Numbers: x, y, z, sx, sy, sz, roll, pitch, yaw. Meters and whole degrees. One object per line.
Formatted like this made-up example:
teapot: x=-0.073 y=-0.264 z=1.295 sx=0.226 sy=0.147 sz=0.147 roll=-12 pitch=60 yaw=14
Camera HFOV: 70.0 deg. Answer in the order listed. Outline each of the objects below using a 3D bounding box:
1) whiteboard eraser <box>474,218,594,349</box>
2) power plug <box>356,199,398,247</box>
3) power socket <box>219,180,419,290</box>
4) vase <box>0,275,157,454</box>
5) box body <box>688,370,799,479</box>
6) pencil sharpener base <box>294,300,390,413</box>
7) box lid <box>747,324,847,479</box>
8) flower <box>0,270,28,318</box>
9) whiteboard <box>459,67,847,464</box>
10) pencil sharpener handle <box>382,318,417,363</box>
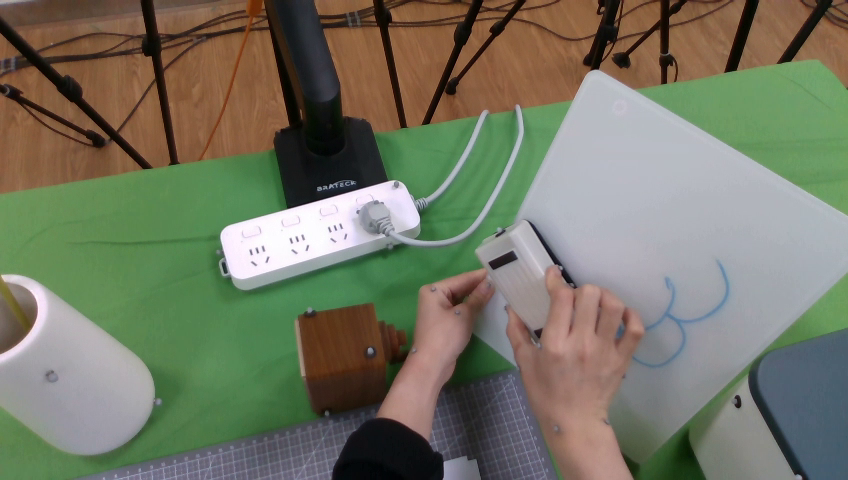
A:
whiteboard eraser: x=0.096 y=0.038 z=0.526 sx=0.113 sy=0.055 sz=0.042 roll=57 pitch=41 yaw=-5
power plug: x=-0.051 y=-0.011 z=0.642 sx=0.035 sy=0.053 sz=0.072 roll=-8 pitch=61 yaw=-9
power socket: x=-0.111 y=-0.008 z=0.662 sx=0.227 sy=0.033 sz=0.071 roll=-17 pitch=62 yaw=-14
vase: x=-0.291 y=0.104 z=0.483 sx=0.098 sy=0.201 sz=0.097 roll=1 pitch=58 yaw=-2
box body: x=0.409 y=0.253 z=0.467 sx=0.255 sy=0.161 sz=0.360 roll=-12 pitch=60 yaw=-11
pencil sharpener base: x=-0.071 y=0.108 z=0.551 sx=0.077 sy=0.108 sz=0.061 roll=-9 pitch=59 yaw=-10
box lid: x=0.413 y=0.211 z=0.404 sx=0.264 sy=0.015 sz=0.367 roll=-12 pitch=60 yaw=-12
flower: x=-0.285 y=0.044 z=0.423 sx=0.038 sy=0.365 sz=0.043 roll=-23 pitch=44 yaw=-25
whiteboard: x=0.200 y=0.016 z=0.548 sx=0.216 sy=0.307 sz=0.144 roll=38 pitch=44 yaw=18
pencil sharpener handle: x=-0.021 y=0.093 z=0.550 sx=0.031 sy=0.068 sz=0.035 roll=-9 pitch=59 yaw=-10
